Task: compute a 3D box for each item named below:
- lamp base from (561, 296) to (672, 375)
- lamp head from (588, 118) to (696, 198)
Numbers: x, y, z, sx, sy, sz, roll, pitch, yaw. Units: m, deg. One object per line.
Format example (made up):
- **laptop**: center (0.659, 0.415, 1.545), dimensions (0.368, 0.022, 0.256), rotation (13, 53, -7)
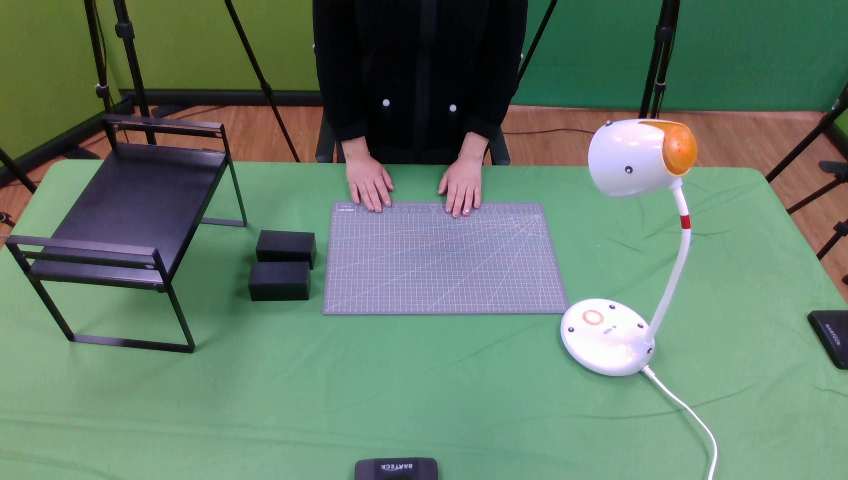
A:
- **lamp base**: center (0.332, 0.119, 0.996), dimensions (0.160, 0.181, 0.178), rotation (-34, 59, -30)
- **lamp head**: center (0.304, -0.113, 0.823), dimensions (0.112, 0.112, 0.122), rotation (-26, 16, -25)
